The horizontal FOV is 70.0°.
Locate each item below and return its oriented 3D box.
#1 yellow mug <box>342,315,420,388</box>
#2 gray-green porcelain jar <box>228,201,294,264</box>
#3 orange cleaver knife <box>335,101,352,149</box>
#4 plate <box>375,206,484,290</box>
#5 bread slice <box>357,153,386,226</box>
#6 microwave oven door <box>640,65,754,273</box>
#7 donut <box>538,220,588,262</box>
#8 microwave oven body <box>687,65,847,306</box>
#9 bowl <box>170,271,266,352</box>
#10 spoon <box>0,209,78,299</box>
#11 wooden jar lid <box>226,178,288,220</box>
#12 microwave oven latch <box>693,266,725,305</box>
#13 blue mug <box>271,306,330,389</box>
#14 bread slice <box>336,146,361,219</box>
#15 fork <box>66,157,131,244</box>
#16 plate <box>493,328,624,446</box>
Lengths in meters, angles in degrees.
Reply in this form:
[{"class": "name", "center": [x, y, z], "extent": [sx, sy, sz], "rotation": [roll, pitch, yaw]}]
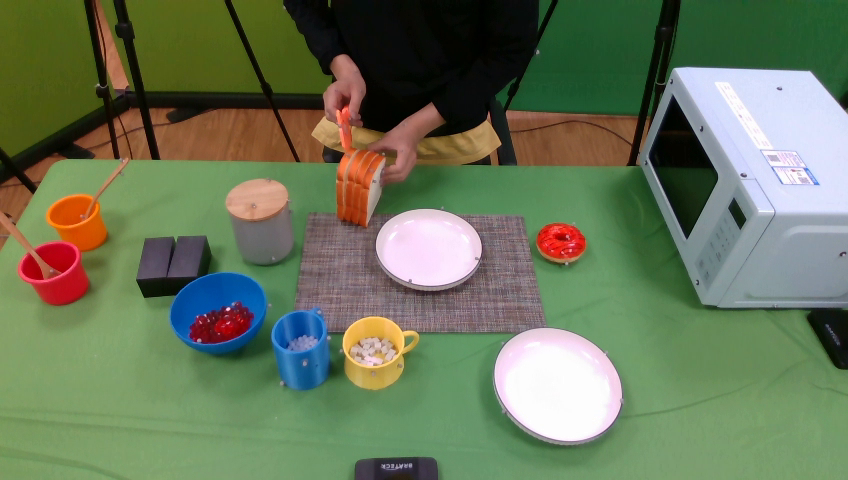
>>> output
[{"class": "yellow mug", "center": [-0.068, 0.177, 0.991], "extent": [0.131, 0.064, 0.099], "rotation": [-15, 50, -19]}, {"class": "gray-green porcelain jar", "center": [-0.299, -0.027, 1.126], "extent": [0.106, 0.127, 0.105], "rotation": [2, 46, -2]}, {"class": "orange cleaver knife", "center": [-0.146, -0.218, 1.134], "extent": [0.012, 0.077, 0.210], "rotation": [-10, 20, 2]}, {"class": "plate", "center": [0.009, 0.018, 1.160], "extent": [0.209, 0.038, 0.208], "rotation": [2, 47, -2]}, {"class": "bread slice", "center": [-0.104, -0.106, 1.206], "extent": [0.018, 0.135, 0.106], "rotation": [19, 53, 4]}, {"class": "microwave oven door", "center": [0.523, -0.147, 1.193], "extent": [0.039, 0.245, 0.353], "rotation": [0, 47, -3]}, {"class": "donut", "center": [0.273, 0.000, 1.198], "extent": [0.099, 0.048, 0.098], "rotation": [0, 46, 0]}, {"class": "microwave oven body", "center": [0.669, -0.111, 1.176], "extent": [0.326, 0.261, 0.439], "rotation": [0, 46, -3]}, {"class": "bowl", "center": [-0.333, 0.132, 1.006], "extent": [0.151, 0.077, 0.150], "rotation": [2, 46, -2]}, {"class": "spoon", "center": [-0.668, 0.021, 1.040], "extent": [0.041, 0.021, 0.194], "rotation": [-41, 105, -30]}, {"class": "wooden jar lid", "center": [-0.296, -0.070, 1.081], "extent": [0.108, 0.021, 0.107], "rotation": [1, 45, -1]}, {"class": "microwave oven latch", "center": [0.523, 0.082, 1.115], "extent": [0.030, 0.029, 0.078], "rotation": [3, 46, 0]}, {"class": "blue mug", "center": [-0.188, 0.163, 0.969], "extent": [0.082, 0.106, 0.116], "rotation": [15, 47, 10]}, {"class": "bread slice", "center": [-0.151, -0.124, 1.210], "extent": [0.019, 0.132, 0.104], "rotation": [14, 47, 7]}, {"class": "fork", "center": [-0.608, -0.074, 1.132], "extent": [0.207, 0.019, 0.028], "rotation": [-52, 48, 10]}, {"class": "plate", "center": [0.213, 0.236, 0.974], "extent": [0.208, 0.039, 0.206], "rotation": [2, 46, -2]}]
